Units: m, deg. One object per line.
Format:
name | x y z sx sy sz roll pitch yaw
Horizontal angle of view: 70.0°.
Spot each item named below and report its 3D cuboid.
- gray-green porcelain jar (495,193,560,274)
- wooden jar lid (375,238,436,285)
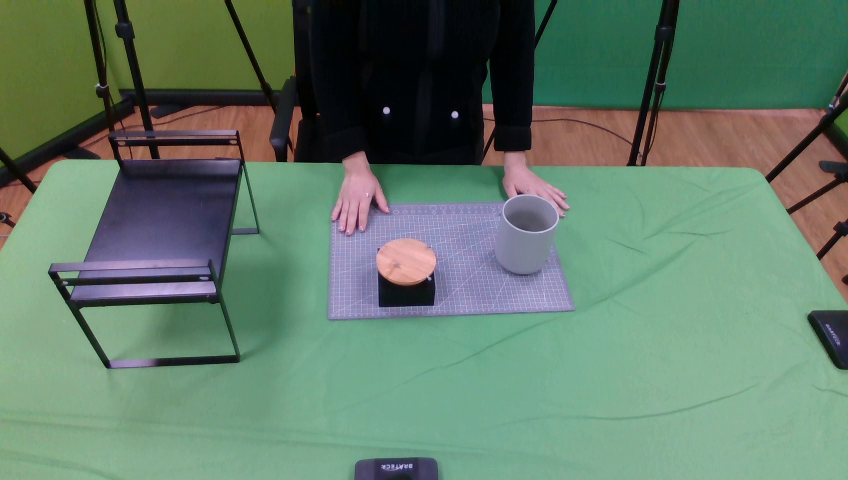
gray-green porcelain jar | 0.191 -0.007 1.140 0.106 0.127 0.105 2 46 -2
wooden jar lid | -0.033 0.040 1.084 0.108 0.021 0.107 3 46 -3
